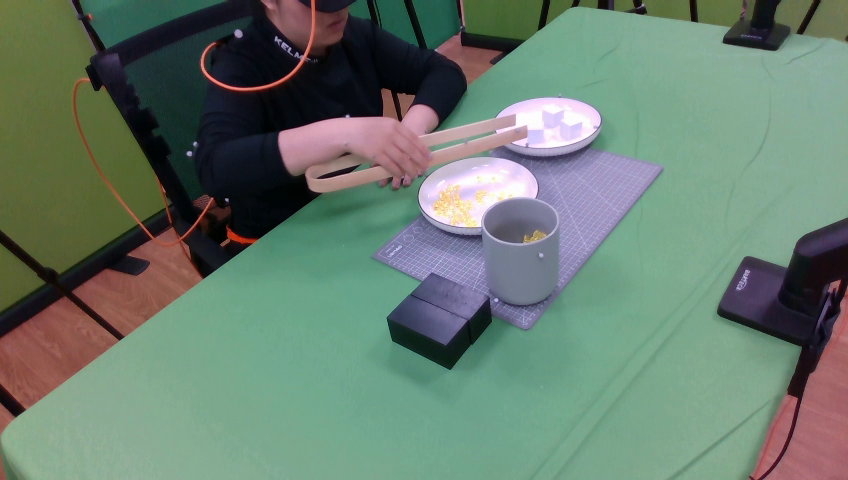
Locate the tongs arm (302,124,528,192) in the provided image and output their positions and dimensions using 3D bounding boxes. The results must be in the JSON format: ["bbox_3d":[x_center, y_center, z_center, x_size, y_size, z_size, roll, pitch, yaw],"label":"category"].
[{"bbox_3d":[-0.009,-0.142,1.012,0.386,0.026,0.050,-18,41,-14],"label":"tongs arm"}]

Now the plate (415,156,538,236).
[{"bbox_3d":[0.090,-0.072,1.034,0.207,0.039,0.206,-5,40,5],"label":"plate"}]

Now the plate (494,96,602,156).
[{"bbox_3d":[0.238,-0.218,1.179,0.209,0.038,0.208,-4,39,4],"label":"plate"}]

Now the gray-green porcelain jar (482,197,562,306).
[{"bbox_3d":[0.138,0.020,0.846,0.106,0.127,0.105,-5,40,5],"label":"gray-green porcelain jar"}]

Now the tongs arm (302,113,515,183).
[{"bbox_3d":[-0.019,-0.160,1.036,0.389,0.028,0.028,-17,44,-12],"label":"tongs arm"}]
